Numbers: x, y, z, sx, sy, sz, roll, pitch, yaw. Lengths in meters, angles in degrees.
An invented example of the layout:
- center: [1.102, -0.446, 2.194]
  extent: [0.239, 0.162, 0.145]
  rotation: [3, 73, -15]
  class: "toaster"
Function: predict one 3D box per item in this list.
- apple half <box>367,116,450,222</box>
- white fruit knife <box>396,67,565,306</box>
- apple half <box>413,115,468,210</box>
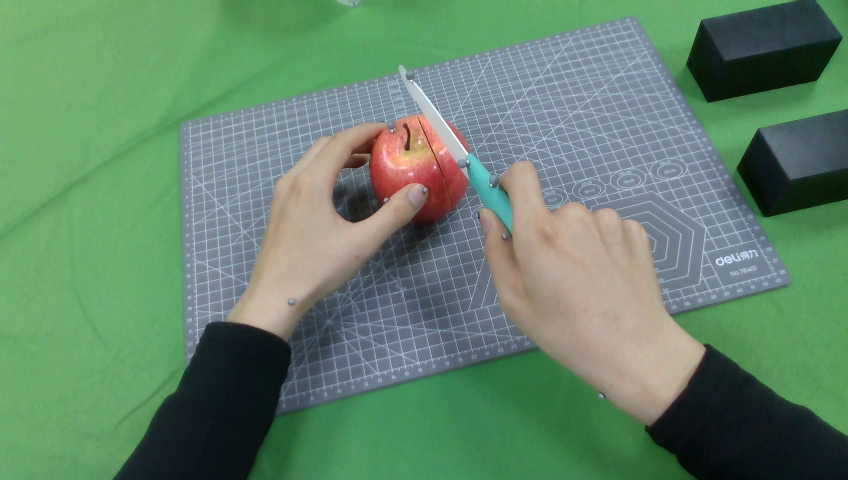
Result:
- center: [-0.016, -0.049, 0.478]
  extent: [0.053, 0.075, 0.080]
  rotation: [-23, 65, -1]
  class: "apple half"
- center: [0.032, -0.045, 0.410]
  extent: [0.016, 0.027, 0.206]
  rotation: [-26, 69, -19]
  class: "white fruit knife"
- center: [0.019, -0.064, 0.481]
  extent: [0.033, 0.082, 0.080]
  rotation: [-21, 60, -2]
  class: "apple half"
